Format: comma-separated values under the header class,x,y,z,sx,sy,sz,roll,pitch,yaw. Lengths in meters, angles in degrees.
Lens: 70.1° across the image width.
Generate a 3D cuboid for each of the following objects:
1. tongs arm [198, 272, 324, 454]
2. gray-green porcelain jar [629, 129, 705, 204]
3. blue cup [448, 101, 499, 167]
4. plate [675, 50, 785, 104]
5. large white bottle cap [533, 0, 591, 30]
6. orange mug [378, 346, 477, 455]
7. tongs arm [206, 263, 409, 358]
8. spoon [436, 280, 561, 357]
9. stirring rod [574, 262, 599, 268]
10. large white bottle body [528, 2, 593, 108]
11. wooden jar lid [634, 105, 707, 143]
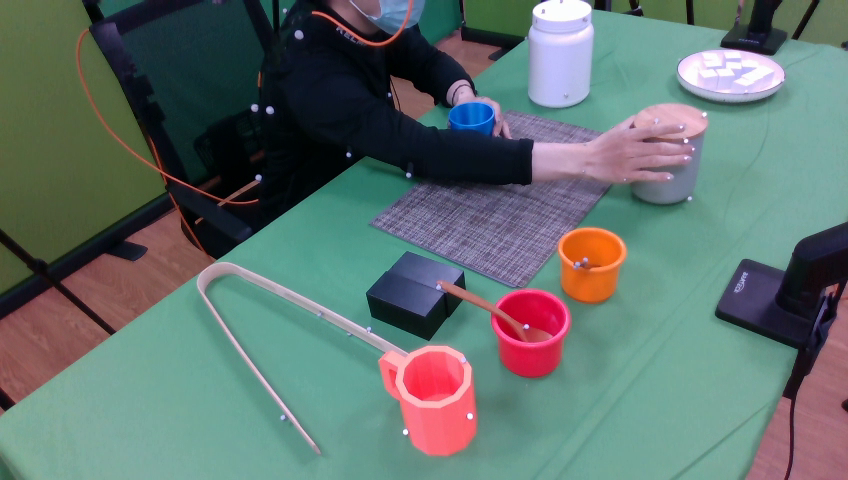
class,x,y,z,sx,sy,sz,roll,pitch,yaw
tongs arm,-0.236,0.155,0.831,0.028,0.028,0.384,-37,48,-18
gray-green porcelain jar,0.394,-0.130,0.989,0.106,0.127,0.105,-5,38,4
blue cup,0.093,-0.193,1.121,0.092,0.101,0.092,-6,41,6
plate,0.632,-0.336,1.262,0.207,0.039,0.206,-4,41,4
large white bottle cap,0.274,-0.449,1.204,0.115,0.018,0.114,-4,41,4
orange mug,0.002,0.179,0.708,0.125,0.101,0.083,25,50,27
tongs arm,-0.179,0.106,0.870,0.381,0.027,0.051,23,55,32
spoon,0.096,0.095,0.757,0.195,0.021,0.041,34,41,-20
stirring rod,0.221,0.033,0.816,0.014,0.006,0.177,9,1,22
large white bottle body,0.283,-0.386,1.259,0.130,0.185,0.130,-5,41,4
wooden jar lid,0.386,-0.179,0.950,0.108,0.021,0.108,-5,41,5
